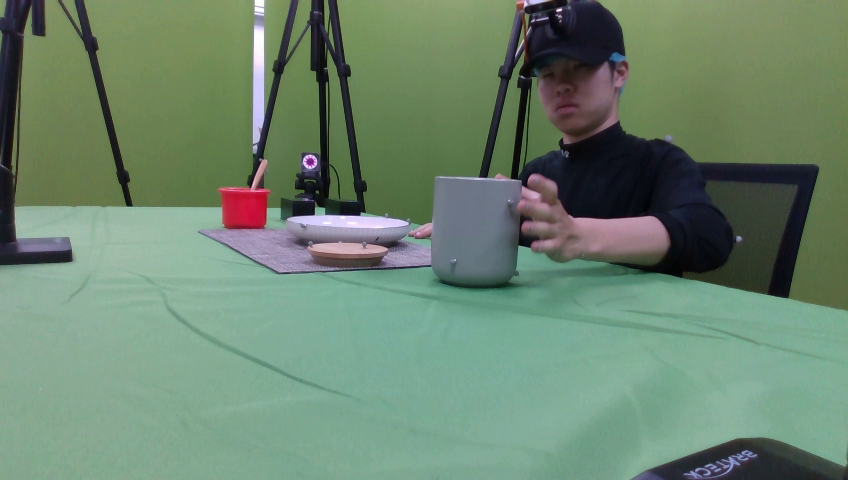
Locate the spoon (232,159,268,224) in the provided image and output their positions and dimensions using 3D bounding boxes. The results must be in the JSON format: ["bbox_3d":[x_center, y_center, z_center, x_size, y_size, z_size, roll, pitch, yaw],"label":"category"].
[{"bbox_3d":[-0.343,-0.101,1.218,0.041,0.021,0.193,4,51,4],"label":"spoon"}]

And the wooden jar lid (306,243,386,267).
[{"bbox_3d":[-0.105,0.020,0.816,0.108,0.020,0.108,1,7,0],"label":"wooden jar lid"}]

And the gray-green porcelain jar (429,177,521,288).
[{"bbox_3d":[0.060,-0.011,0.725,0.106,0.126,0.106,2,7,0],"label":"gray-green porcelain jar"}]

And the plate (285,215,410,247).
[{"bbox_3d":[-0.127,-0.015,1.012,0.208,0.039,0.207,3,7,0],"label":"plate"}]
